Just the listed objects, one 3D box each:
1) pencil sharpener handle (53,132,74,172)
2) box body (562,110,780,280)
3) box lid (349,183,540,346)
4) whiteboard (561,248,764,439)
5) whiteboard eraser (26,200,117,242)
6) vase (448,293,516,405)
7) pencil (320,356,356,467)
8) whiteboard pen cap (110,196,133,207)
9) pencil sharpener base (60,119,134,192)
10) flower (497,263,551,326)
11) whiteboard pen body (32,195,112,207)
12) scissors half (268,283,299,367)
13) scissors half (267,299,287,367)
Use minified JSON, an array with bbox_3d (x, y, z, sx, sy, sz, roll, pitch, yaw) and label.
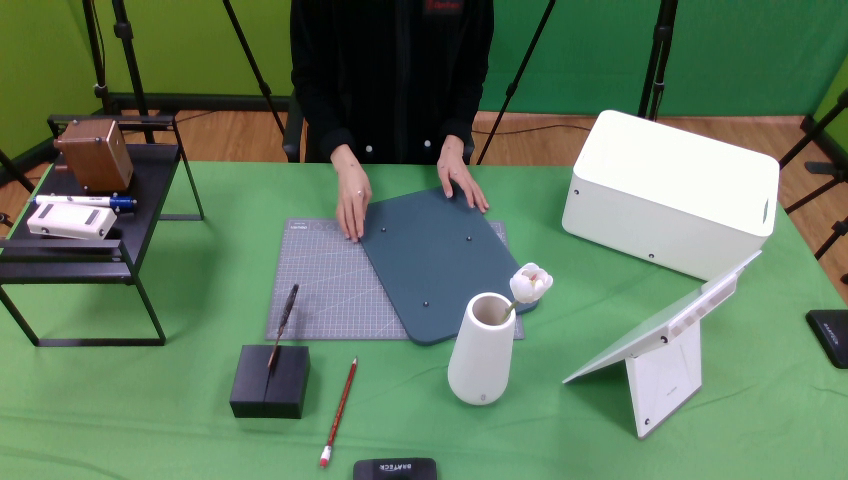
[{"bbox_3d":[-0.578,-0.138,0.961,0.031,0.068,0.036,-4,34,-7],"label":"pencil sharpener handle"},{"bbox_3d":[0.486,-0.088,1.222,0.363,0.161,0.253,20,48,15],"label":"box body"},{"bbox_3d":[0.030,0.031,1.176,0.263,0.015,0.369,-16,49,-18],"label":"box lid"},{"bbox_3d":[0.386,0.176,0.905,0.217,0.306,0.143,-26,72,-27],"label":"whiteboard"},{"bbox_3d":[-0.532,-0.026,0.919,0.113,0.042,0.055,7,45,3],"label":"whiteboard eraser"},{"bbox_3d":[0.091,0.169,0.921,0.098,0.201,0.097,3,47,-3],"label":"vase"},{"bbox_3d":[-0.130,0.261,0.946,0.012,0.012,0.193,10,45,5],"label":"pencil"},{"bbox_3d":[-0.486,-0.061,0.972,0.033,0.018,0.018,0,47,-9],"label":"whiteboard pen cap"},{"bbox_3d":[-0.528,-0.135,0.979,0.077,0.107,0.061,-4,47,-7],"label":"pencil sharpener base"},{"bbox_3d":[0.103,0.121,0.853,0.044,0.363,0.038,-1,63,-9],"label":"flower"},{"bbox_3d":[-0.543,-0.061,0.961,0.141,0.017,0.017,1,46,-10],"label":"whiteboard pen body"},{"bbox_3d":[-0.230,0.135,0.986,0.013,0.040,0.174,19,43,-10],"label":"scissors half"},{"bbox_3d":[-0.239,0.150,0.997,0.013,0.040,0.174,24,24,-13],"label":"scissors half"}]
